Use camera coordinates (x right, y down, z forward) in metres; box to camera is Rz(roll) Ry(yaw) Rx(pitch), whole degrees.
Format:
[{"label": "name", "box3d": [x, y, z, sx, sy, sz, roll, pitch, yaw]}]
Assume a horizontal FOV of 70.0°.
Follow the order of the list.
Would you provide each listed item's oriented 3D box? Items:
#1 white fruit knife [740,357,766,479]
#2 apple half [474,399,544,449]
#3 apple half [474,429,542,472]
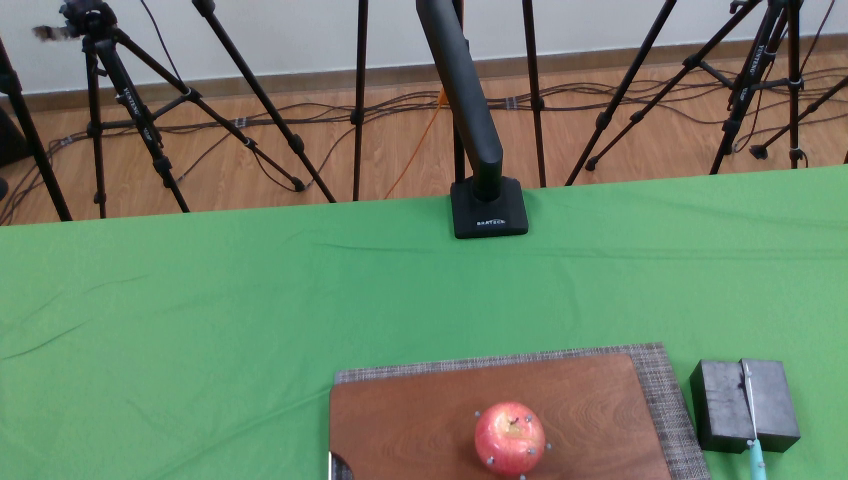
[{"label": "white fruit knife", "box3d": [0.388, 0.241, 0.714, 0.016, 0.027, 0.206, 3, 66, 5]}, {"label": "apple half", "box3d": [0.101, 0.218, 0.716, 0.080, 0.075, 0.053, 2, 48, 10]}, {"label": "apple half", "box3d": [0.094, 0.248, 0.691, 0.081, 0.082, 0.032, 5, 48, 7]}]
